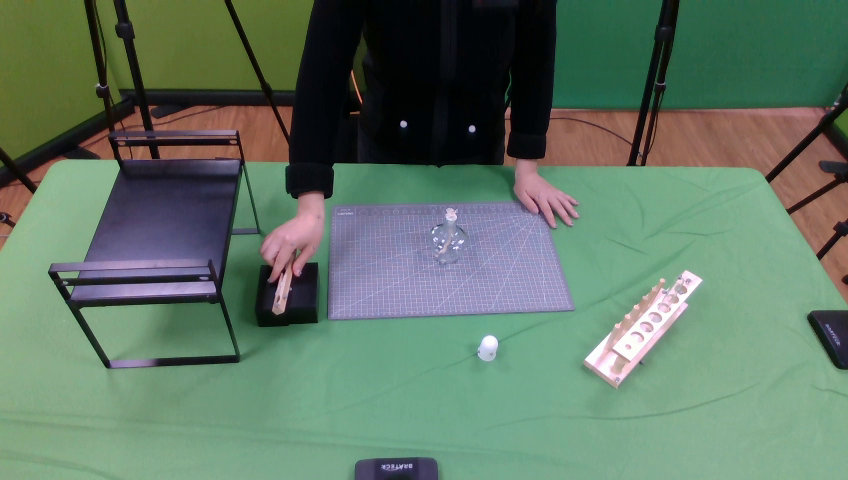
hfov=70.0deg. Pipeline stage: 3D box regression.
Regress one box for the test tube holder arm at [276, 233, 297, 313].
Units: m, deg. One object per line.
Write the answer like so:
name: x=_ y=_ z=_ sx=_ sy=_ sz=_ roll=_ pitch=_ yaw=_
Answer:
test tube holder arm: x=-0.239 y=0.053 z=1.058 sx=0.013 sy=0.015 sz=0.177 roll=-21 pitch=42 yaw=19

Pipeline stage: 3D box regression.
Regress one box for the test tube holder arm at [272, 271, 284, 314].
test tube holder arm: x=-0.244 y=0.087 z=1.028 sx=0.010 sy=0.015 sz=0.087 roll=-20 pitch=42 yaw=20

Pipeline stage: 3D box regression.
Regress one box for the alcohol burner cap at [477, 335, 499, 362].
alcohol burner cap: x=0.109 y=0.179 z=1.017 sx=0.034 sy=0.048 sz=0.033 roll=4 pitch=50 yaw=-4

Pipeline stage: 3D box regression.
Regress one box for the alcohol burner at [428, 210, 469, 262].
alcohol burner: x=0.048 y=-0.015 z=1.146 sx=0.078 sy=0.119 sz=0.077 roll=3 pitch=48 yaw=-3

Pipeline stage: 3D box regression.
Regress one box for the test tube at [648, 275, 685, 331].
test tube: x=0.401 y=0.109 z=1.007 sx=0.017 sy=0.151 sz=0.017 roll=1 pitch=50 yaw=0

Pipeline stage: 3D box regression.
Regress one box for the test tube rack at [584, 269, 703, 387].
test tube rack: x=0.380 y=0.139 z=1.046 sx=0.066 sy=0.085 sz=0.242 roll=37 pitch=54 yaw=28
